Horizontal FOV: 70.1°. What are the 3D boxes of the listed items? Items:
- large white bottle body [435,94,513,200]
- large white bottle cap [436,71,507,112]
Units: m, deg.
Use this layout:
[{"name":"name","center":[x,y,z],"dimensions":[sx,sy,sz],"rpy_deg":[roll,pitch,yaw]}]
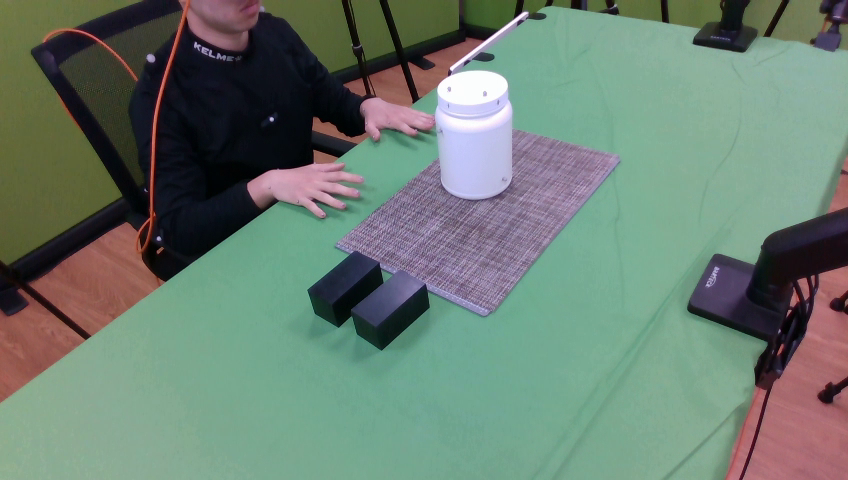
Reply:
[{"name":"large white bottle body","center":[0.086,-0.176,1.030],"dimensions":[0.130,0.185,0.130],"rpy_deg":[-4,41,4]},{"name":"large white bottle cap","center":[0.077,-0.241,0.976],"dimensions":[0.115,0.018,0.114],"rpy_deg":[-4,41,4]}]
